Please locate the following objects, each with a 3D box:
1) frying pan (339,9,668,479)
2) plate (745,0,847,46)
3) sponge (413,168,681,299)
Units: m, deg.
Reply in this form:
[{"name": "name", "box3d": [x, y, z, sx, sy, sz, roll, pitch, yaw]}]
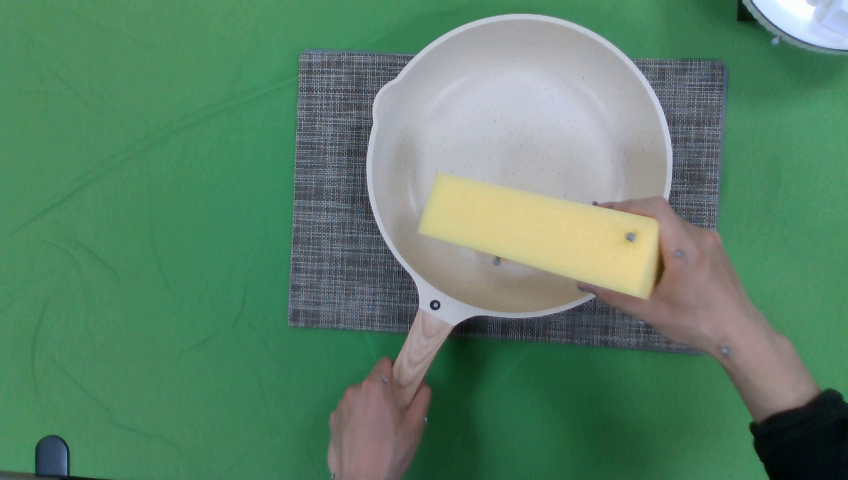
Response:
[{"name": "frying pan", "box3d": [0.038, 0.016, 0.601, 0.306, 0.103, 0.487, 28, 85, 5]}, {"name": "plate", "box3d": [0.379, -0.279, 0.554, 0.207, 0.039, 0.207, 0, 91, 4]}, {"name": "sponge", "box3d": [0.109, -0.007, 0.543, 0.205, 0.119, 0.061, 16, 91, 34]}]
